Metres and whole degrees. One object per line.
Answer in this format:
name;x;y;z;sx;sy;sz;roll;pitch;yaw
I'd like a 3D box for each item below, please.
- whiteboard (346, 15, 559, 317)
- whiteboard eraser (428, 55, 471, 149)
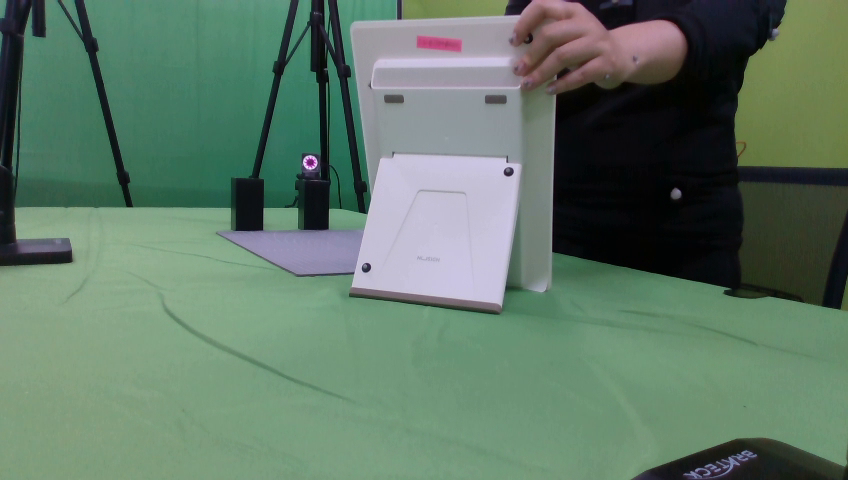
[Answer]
whiteboard;0.012;-0.056;0.609;0.216;0.305;0.144;6;27;19
whiteboard eraser;0.027;-0.149;0.660;0.041;0.101;0.019;13;31;15
